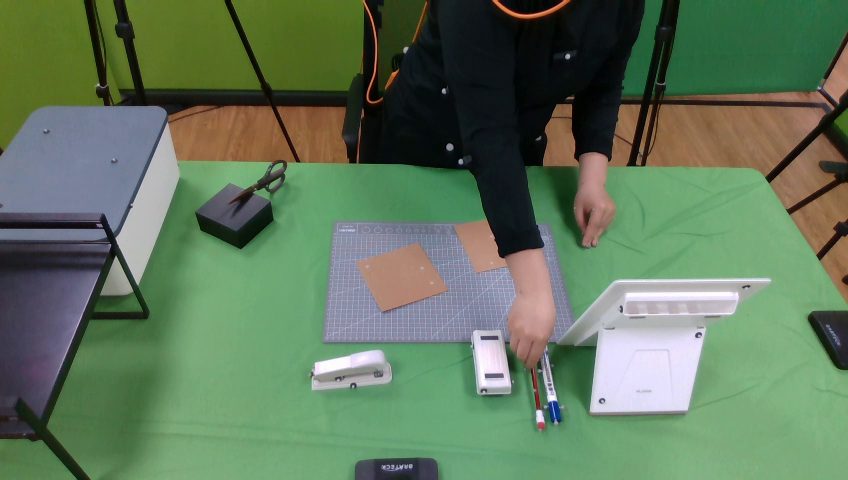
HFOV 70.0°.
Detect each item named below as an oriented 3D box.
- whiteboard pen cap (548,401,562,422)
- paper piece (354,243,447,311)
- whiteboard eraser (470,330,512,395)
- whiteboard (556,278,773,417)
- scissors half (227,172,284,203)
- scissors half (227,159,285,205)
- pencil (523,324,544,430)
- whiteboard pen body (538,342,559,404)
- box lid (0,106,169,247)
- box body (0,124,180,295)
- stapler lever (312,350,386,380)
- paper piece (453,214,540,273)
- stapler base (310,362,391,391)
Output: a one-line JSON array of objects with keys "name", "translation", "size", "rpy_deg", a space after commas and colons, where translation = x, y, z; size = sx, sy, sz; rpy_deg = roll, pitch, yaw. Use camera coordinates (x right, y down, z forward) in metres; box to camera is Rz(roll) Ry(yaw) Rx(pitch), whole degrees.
[{"name": "whiteboard pen cap", "translation": [0.206, 0.269, 0.956], "size": [0.018, 0.018, 0.033], "rpy_deg": [0, 48, -4]}, {"name": "paper piece", "translation": [-0.045, 0.066, 1.137], "size": [0.136, 0.009, 0.137], "rpy_deg": [-13, 47, -23]}, {"name": "whiteboard eraser", "translation": [0.110, 0.202, 0.998], "size": [0.055, 0.042, 0.112], "rpy_deg": [1, 46, -5]}, {"name": "whiteboard", "translation": [0.347, 0.174, 0.903], "size": [0.217, 0.306, 0.143], "rpy_deg": [1, 65, -4]}, {"name": "scissors half", "translation": [-0.340, -0.101, 1.230], "size": [0.013, 0.040, 0.175], "rpy_deg": [24, 29, 15]}, {"name": "scissors half", "translation": [-0.336, -0.117, 1.218], "size": [0.013, 0.040, 0.175], "rpy_deg": [28, 47, 12]}, {"name": "pencil", "translation": [0.178, 0.219, 0.997], "size": [0.012, 0.012, 0.193], "rpy_deg": [1, 49, -4]}, {"name": "whiteboard pen body", "translation": [0.206, 0.227, 0.996], "size": [0.017, 0.017, 0.140], "rpy_deg": [0, 45, -4]}, {"name": "box lid", "translation": [-0.624, -0.125, 1.067], "size": [0.263, 0.015, 0.369], "rpy_deg": [0, 46, -3]}, {"name": "box body", "translation": [-0.627, -0.075, 1.122], "size": [0.254, 0.161, 0.361], "rpy_deg": [1, 46, -4]}, {"name": "stapler lever", "translation": [-0.120, 0.199, 0.963], "size": [0.118, 0.040, 0.026], "rpy_deg": [-4, 44, -8]}, {"name": "paper piece", "translation": [0.142, 0.003, 1.212], "size": [0.135, 0.004, 0.135], "rpy_deg": [-11, 47, -14]}, {"name": "stapler base", "translation": [-0.119, 0.215, 0.980], "size": [0.131, 0.024, 0.041], "rpy_deg": [-5, 44, -7]}]
